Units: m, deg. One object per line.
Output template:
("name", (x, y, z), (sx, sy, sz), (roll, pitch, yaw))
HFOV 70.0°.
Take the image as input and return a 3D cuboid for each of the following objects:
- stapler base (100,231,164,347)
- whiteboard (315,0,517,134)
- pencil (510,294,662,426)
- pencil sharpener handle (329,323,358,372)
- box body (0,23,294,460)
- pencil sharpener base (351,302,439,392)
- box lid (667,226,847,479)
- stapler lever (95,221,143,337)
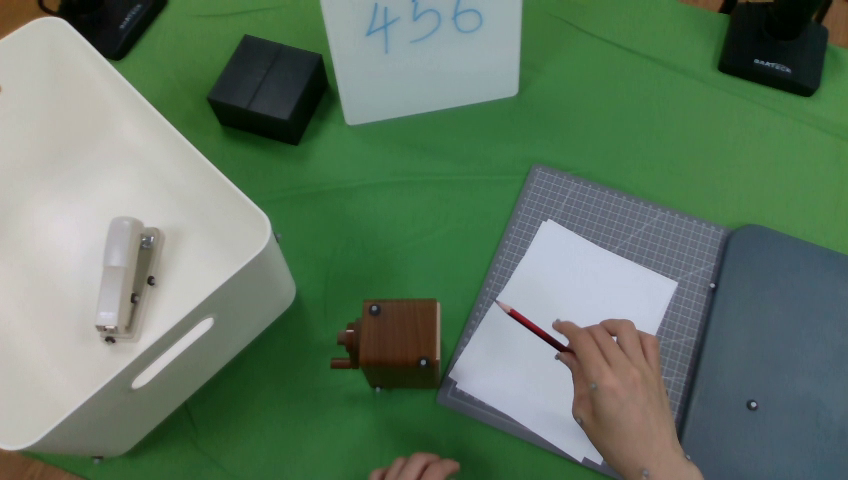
("stapler base", (-0.308, 0.046, 0.635), (0.041, 0.024, 0.129), (1, 67, 3))
("whiteboard", (-0.017, -0.304, 0.680), (0.217, 0.308, 0.142), (-11, 46, -4))
("pencil", (0.139, 0.103, 0.511), (0.195, 0.012, 0.012), (40, 67, -18))
("pencil sharpener handle", (-0.075, 0.102, 0.554), (0.030, 0.068, 0.035), (0, 49, 1))
("box body", (-0.333, 0.001, 0.586), (0.362, 0.161, 0.254), (41, 72, 17))
("pencil sharpener base", (-0.024, 0.103, 0.567), (0.077, 0.108, 0.061), (0, 65, 1))
("box lid", (0.390, 0.174, 0.585), (0.262, 0.015, 0.369), (20, 67, 8))
("stapler lever", (-0.309, 0.037, 0.611), (0.027, 0.040, 0.117), (1, 68, 3))
